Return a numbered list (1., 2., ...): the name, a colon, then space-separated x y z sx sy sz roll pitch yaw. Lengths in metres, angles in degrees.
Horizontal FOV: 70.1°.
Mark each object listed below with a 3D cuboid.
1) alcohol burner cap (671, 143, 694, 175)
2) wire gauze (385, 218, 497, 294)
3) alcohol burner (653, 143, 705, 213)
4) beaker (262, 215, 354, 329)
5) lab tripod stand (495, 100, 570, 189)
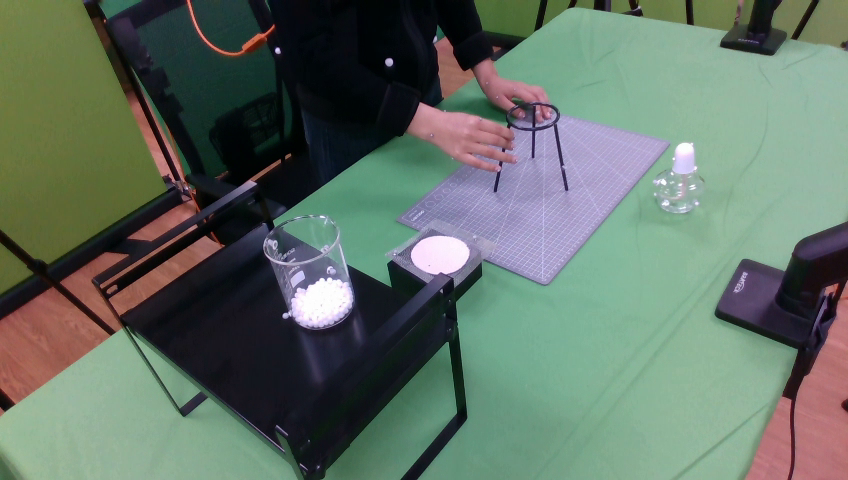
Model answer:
1. alcohol burner cap: 0.404 -0.129 0.941 0.034 0.048 0.033 -9 40 8
2. wire gauze: 0.025 0.016 0.886 0.124 0.011 0.122 28 49 33
3. alcohol burner: 0.408 -0.102 0.963 0.078 0.120 0.077 -6 42 6
4. beaker: -0.112 0.034 0.616 0.073 0.101 0.084 13 44 23
5. lab tripod stand: 0.186 -0.160 1.043 0.148 0.132 0.147 -4 43 5
